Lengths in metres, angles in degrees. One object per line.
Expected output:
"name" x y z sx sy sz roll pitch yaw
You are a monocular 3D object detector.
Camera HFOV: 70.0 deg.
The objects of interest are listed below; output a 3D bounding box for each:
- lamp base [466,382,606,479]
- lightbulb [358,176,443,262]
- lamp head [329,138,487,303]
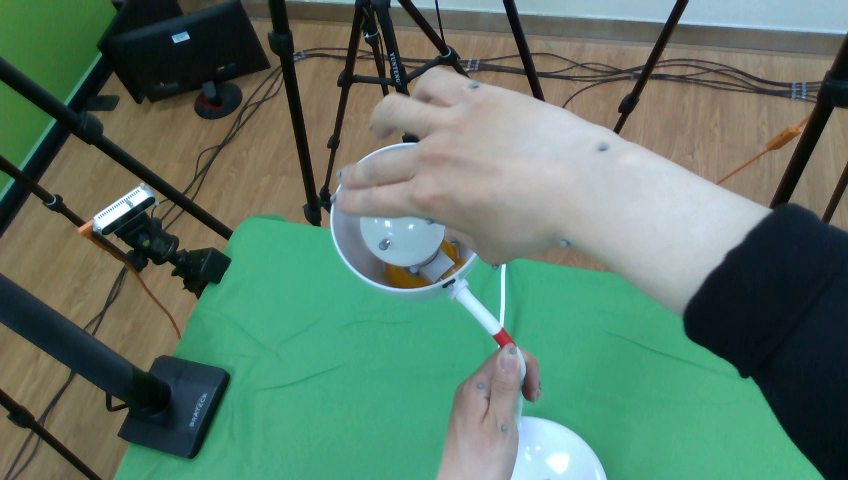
"lamp base" 0.112 0.232 0.641 0.161 0.182 0.177 -26 56 -7
"lightbulb" -0.014 -0.009 0.447 0.059 0.108 0.059 -1 76 5
"lamp head" -0.005 -0.001 0.470 0.112 0.124 0.111 -3 68 7
